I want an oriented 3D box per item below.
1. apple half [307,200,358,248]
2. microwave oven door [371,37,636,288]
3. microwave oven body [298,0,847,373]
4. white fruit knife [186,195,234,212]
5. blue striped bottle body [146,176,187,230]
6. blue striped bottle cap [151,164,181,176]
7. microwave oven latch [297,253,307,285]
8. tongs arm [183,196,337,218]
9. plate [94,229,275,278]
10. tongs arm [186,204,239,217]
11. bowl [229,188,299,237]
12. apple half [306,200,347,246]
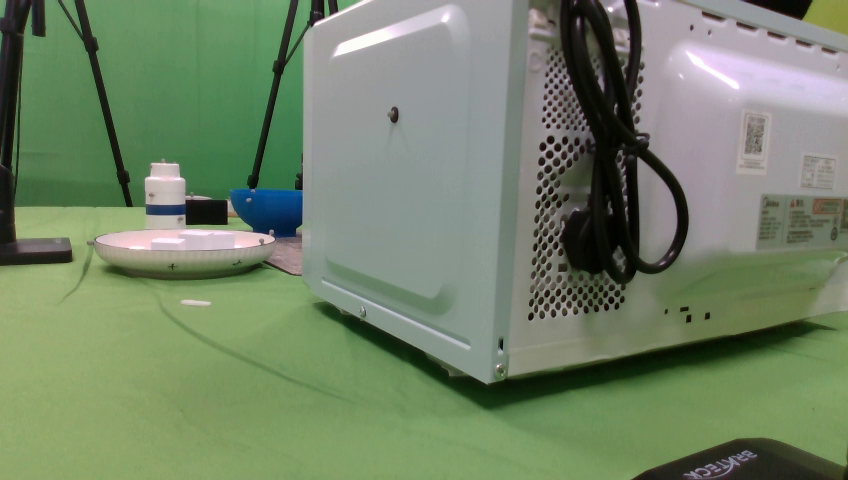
[{"bbox_3d":[-0.135,-0.024,0.939,0.053,0.074,0.081,16,12,43],"label":"apple half"},{"bbox_3d":[0.109,-0.080,0.686,0.358,0.243,0.039,-2,9,-33],"label":"microwave oven door"},{"bbox_3d":[0.151,-0.055,0.543,0.444,0.260,0.324,-1,7,-33],"label":"microwave oven body"},{"bbox_3d":[-0.401,-0.072,1.275,0.208,0.027,0.016,10,1,-35],"label":"white fruit knife"},{"bbox_3d":[-0.430,-0.065,1.010,0.063,0.120,0.063,2,7,0],"label":"blue striped bottle body"},{"bbox_3d":[-0.428,-0.116,1.002,0.044,0.020,0.044,1,6,0],"label":"blue striped bottle cap"},{"bbox_3d":[-0.082,0.027,0.582,0.079,0.029,0.030,-1,7,-33],"label":"microwave oven latch"},{"bbox_3d":[-0.404,-0.081,1.479,0.385,0.026,0.050,3,8,-2],"label":"tongs arm"},{"bbox_3d":[-0.291,0.016,0.750,0.208,0.039,0.207,2,7,0],"label":"plate"},{"bbox_3d":[-0.396,-0.067,1.399,0.389,0.028,0.028,1,5,-15],"label":"tongs arm"},{"bbox_3d":[-0.265,-0.048,1.066,0.151,0.077,0.151,3,8,0],"label":"bowl"},{"bbox_3d":[-0.162,-0.029,0.965,0.032,0.081,0.082,13,13,43],"label":"apple half"}]
